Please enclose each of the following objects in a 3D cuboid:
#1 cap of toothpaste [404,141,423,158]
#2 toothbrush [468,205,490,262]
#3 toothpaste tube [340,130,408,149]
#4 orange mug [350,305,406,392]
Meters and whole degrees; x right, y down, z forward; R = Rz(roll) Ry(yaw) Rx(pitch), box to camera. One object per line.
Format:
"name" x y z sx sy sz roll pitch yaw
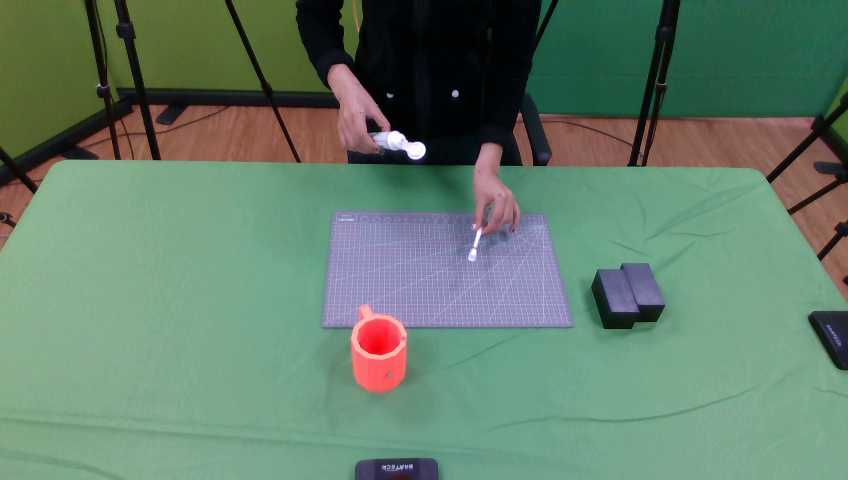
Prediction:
"cap of toothpaste" -0.019 -0.166 1.098 0.037 0.011 0.037 -4 67 10
"toothbrush" 0.109 -0.019 1.175 0.014 0.017 0.181 14 39 7
"toothpaste tube" -0.090 -0.191 1.146 0.055 0.034 0.164 12 1 -44
"orange mug" -0.080 0.168 0.978 0.083 0.101 0.125 -16 54 -18
